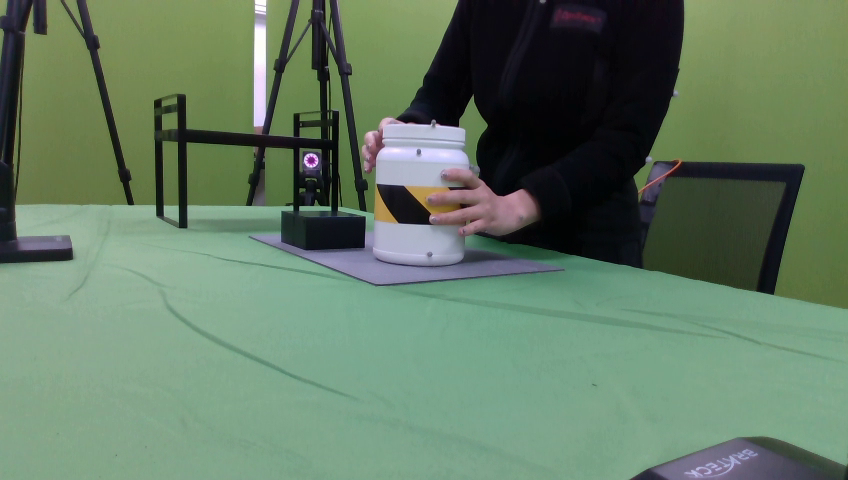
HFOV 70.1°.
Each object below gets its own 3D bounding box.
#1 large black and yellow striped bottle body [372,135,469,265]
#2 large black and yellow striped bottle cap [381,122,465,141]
[{"bbox_3d":[-0.005,-0.065,0.840,0.131,0.184,0.130,3,7,0],"label":"large black and yellow striped bottle body"},{"bbox_3d":[-0.002,-0.148,0.830,0.115,0.019,0.115,4,7,0],"label":"large black and yellow striped bottle cap"}]
